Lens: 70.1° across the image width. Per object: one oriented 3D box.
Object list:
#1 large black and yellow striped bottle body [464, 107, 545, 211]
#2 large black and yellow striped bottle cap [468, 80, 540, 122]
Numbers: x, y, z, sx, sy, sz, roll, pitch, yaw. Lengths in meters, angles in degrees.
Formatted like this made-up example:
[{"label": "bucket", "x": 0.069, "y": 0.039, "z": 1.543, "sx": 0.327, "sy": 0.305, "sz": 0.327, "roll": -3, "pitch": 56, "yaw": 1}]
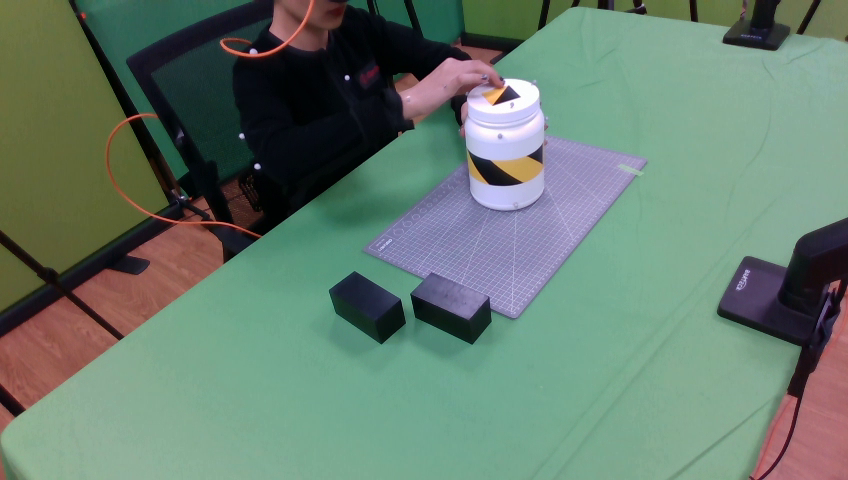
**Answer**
[{"label": "large black and yellow striped bottle body", "x": 0.136, "y": -0.157, "z": 1.011, "sx": 0.131, "sy": 0.185, "sz": 0.130, "roll": -5, "pitch": 40, "yaw": 5}, {"label": "large black and yellow striped bottle cap", "x": 0.126, "y": -0.221, "z": 0.956, "sx": 0.115, "sy": 0.019, "sz": 0.114, "roll": -6, "pitch": 38, "yaw": 5}]
